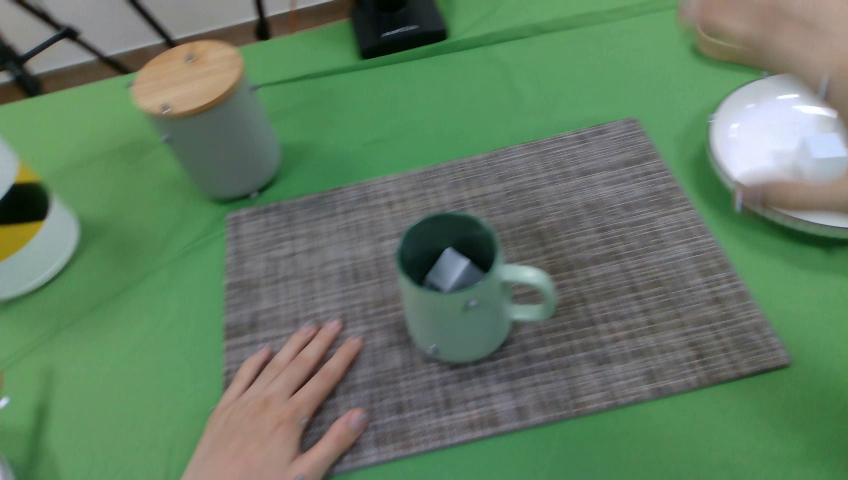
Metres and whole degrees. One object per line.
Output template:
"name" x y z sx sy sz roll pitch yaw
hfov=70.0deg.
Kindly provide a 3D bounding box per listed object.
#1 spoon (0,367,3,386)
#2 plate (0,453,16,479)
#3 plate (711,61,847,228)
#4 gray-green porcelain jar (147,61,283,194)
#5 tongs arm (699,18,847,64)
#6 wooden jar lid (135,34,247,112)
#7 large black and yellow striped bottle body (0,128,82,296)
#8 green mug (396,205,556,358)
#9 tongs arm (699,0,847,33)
"spoon" -0.345 0.184 0.462 0.041 0.022 0.192 -11 60 -1
"plate" -0.396 0.245 0.445 0.209 0.038 0.207 -5 52 6
"plate" 0.376 -0.088 0.564 0.207 0.039 0.205 -5 53 7
"gray-green porcelain jar" -0.212 -0.120 0.633 0.106 0.128 0.105 -5 52 6
"tongs arm" 0.482 -0.179 0.620 0.385 0.028 0.028 18 67 22
"wooden jar lid" -0.222 -0.158 0.585 0.108 0.021 0.107 -4 55 6
"large black and yellow striped bottle body" -0.440 -0.044 0.577 0.130 0.186 0.129 -5 53 6
"green mug" 0.041 0.036 0.481 0.125 0.106 0.092 5 54 13
"tongs arm" 0.508 -0.242 0.658 0.383 0.027 0.050 7 60 16
